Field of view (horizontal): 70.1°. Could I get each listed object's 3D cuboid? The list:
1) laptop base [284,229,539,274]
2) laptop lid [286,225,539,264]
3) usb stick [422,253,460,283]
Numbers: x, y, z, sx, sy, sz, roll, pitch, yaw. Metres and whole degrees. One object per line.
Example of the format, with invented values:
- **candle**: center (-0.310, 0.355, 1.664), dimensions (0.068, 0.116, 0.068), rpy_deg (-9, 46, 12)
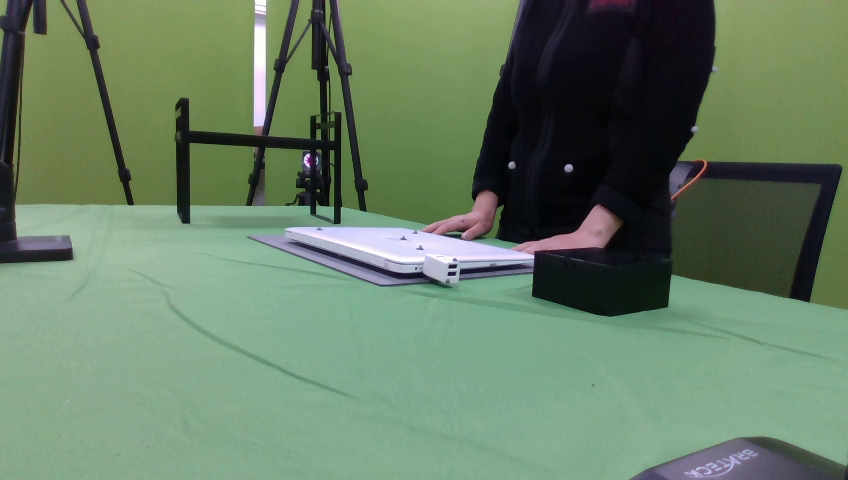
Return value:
- **laptop base**: center (-0.034, 0.013, 0.898), dimensions (0.237, 0.023, 0.352), rpy_deg (1, 7, -36)
- **laptop lid**: center (-0.032, 0.002, 0.898), dimensions (0.243, 0.013, 0.355), rpy_deg (0, 8, -34)
- **usb stick**: center (0.015, 0.031, 0.698), dimensions (0.021, 0.027, 0.059), rpy_deg (-2, 9, -34)
